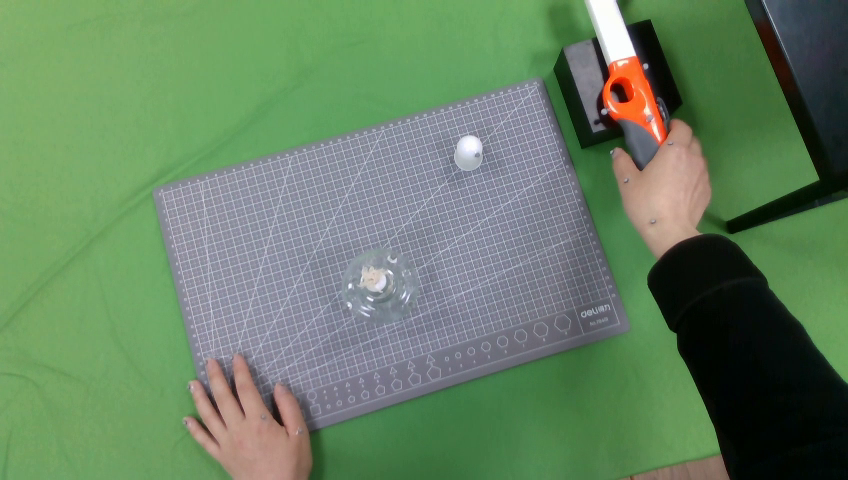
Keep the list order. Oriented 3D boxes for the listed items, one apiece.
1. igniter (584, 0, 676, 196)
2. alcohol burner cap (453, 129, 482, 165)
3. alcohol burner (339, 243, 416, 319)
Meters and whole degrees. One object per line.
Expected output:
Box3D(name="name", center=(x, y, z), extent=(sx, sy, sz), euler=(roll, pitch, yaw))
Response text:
Box3D(name="igniter", center=(0.205, -0.178, 0.627), extent=(0.057, 0.025, 0.275), euler=(-14, 79, -1))
Box3D(name="alcohol burner cap", center=(0.048, -0.103, 0.652), extent=(0.034, 0.048, 0.033), euler=(0, 82, 1))
Box3D(name="alcohol burner", center=(-0.047, 0.039, 0.594), extent=(0.078, 0.119, 0.077), euler=(0, 82, 1))
